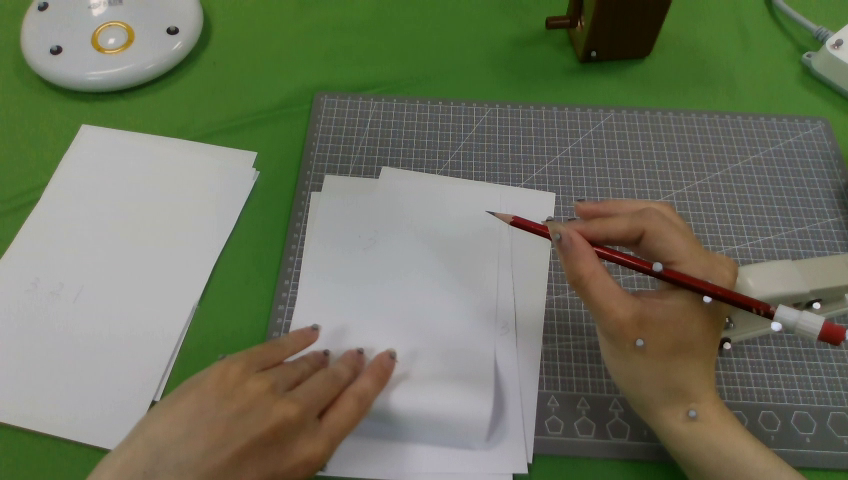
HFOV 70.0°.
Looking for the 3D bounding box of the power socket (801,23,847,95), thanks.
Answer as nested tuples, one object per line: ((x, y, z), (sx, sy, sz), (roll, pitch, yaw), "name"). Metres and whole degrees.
((0.443, -0.117, 0.521), (0.072, 0.033, 0.225), (-34, 65, -20), "power socket")

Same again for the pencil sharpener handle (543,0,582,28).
((0.119, -0.214, 0.512), (0.031, 0.068, 0.035), (-7, 38, -4), "pencil sharpener handle")

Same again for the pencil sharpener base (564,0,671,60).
((0.169, -0.218, 0.531), (0.077, 0.108, 0.061), (-7, 60, -4), "pencil sharpener base")

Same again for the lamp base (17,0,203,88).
((-0.291, -0.248, 0.496), (0.161, 0.182, 0.177), (-25, 60, -15), "lamp base")

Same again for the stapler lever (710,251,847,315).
((0.247, 0.026, 0.405), (0.118, 0.040, 0.026), (-11, 61, -10), "stapler lever")

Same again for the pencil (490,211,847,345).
((0.114, 0.013, 0.323), (0.192, 0.012, 0.012), (23, 60, 35), "pencil")

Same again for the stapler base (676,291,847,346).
((0.245, 0.040, 0.426), (0.131, 0.024, 0.041), (-11, 61, -9), "stapler base")
